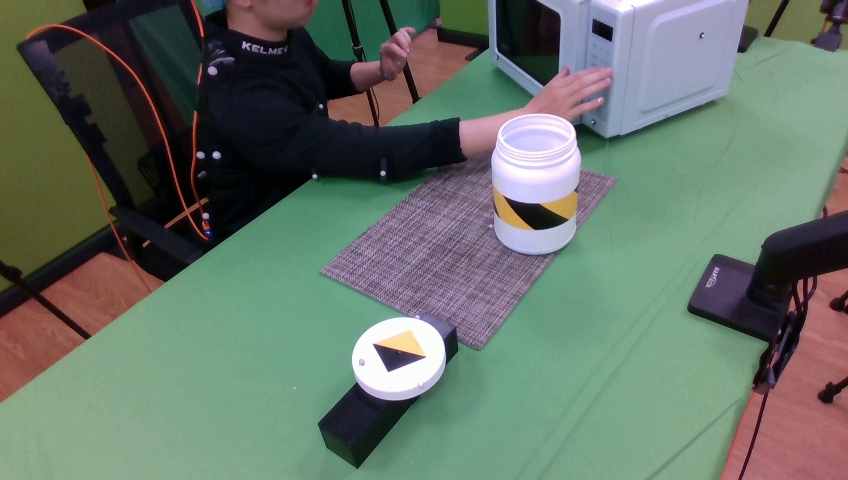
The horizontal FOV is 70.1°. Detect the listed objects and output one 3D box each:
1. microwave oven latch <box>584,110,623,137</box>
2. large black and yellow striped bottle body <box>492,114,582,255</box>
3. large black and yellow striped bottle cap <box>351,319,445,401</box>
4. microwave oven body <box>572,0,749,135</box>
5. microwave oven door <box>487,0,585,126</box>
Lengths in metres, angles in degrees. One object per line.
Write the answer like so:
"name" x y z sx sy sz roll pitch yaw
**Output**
"microwave oven latch" 0.337 -0.222 1.142 0.030 0.029 0.078 -20 42 -14
"large black and yellow striped bottle body" 0.169 -0.083 0.912 0.131 0.185 0.130 -4 41 4
"large black and yellow striped bottle cap" -0.031 0.143 0.735 0.115 0.019 0.114 -3 40 3
"microwave oven body" 0.382 -0.444 1.246 0.327 0.261 0.437 -22 42 -16
"microwave oven door" 0.221 -0.416 1.228 0.039 0.245 0.352 -19 42 -13
